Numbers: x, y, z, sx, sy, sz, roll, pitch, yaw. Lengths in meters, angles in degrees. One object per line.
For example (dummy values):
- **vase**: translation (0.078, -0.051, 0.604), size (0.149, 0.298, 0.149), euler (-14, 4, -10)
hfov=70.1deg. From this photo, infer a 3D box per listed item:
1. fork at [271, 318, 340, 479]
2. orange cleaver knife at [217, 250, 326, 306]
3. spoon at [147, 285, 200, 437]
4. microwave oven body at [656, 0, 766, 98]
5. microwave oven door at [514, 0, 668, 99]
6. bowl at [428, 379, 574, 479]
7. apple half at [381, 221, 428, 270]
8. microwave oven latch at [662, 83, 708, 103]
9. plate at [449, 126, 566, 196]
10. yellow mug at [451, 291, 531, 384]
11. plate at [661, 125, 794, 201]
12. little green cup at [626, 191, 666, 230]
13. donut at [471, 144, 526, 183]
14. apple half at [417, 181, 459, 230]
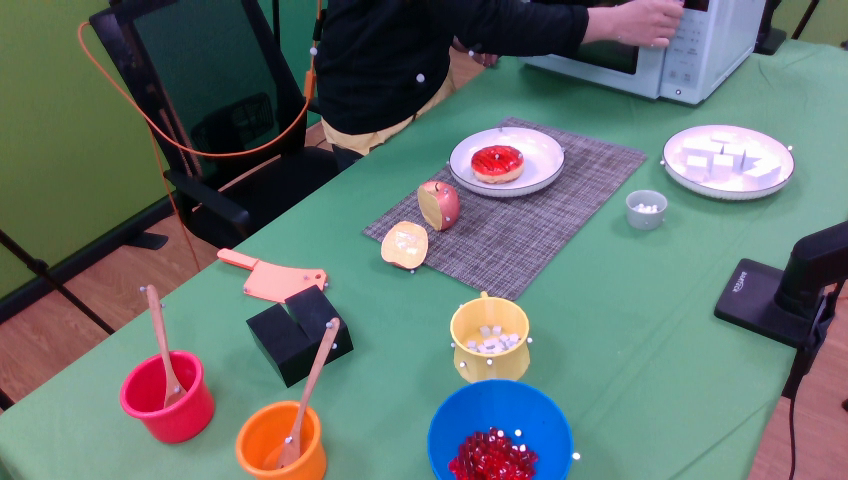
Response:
- **fork**: translation (-0.132, 0.186, 0.676), size (0.028, 0.019, 0.207), euler (17, 90, 28)
- **orange cleaver knife**: translation (-0.248, 0.058, 0.945), size (0.210, 0.012, 0.077), euler (12, 49, 20)
- **spoon**: translation (-0.318, 0.148, 0.754), size (0.042, 0.021, 0.193), euler (-15, 85, -9)
- **microwave oven body**: translation (0.472, -0.513, 1.317), size (0.438, 0.261, 0.327), euler (26, 51, 34)
- **microwave oven door**: translation (0.338, -0.451, 1.255), size (0.353, 0.245, 0.039), euler (28, 53, 35)
- **bowl**: translation (0.083, 0.233, 0.645), size (0.151, 0.077, 0.150), euler (-4, 39, 4)
- **apple half**: translation (-0.024, 0.012, 0.946), size (0.081, 0.033, 0.081), euler (-5, 73, 16)
- **microwave oven latch**: translation (0.518, -0.297, 1.204), size (0.078, 0.029, 0.030), euler (28, 52, 36)
- **plate**: translation (0.150, -0.138, 1.096), size (0.209, 0.038, 0.208), euler (-4, 40, 4)
- **yellow mug**: translation (0.085, 0.120, 0.786), size (0.100, 0.064, 0.130), euler (-7, 39, 1)
- **plate**: translation (0.514, -0.128, 1.035), size (0.207, 0.039, 0.206), euler (-4, 40, 4)
- **little green cup**: translation (0.352, -0.046, 0.963), size (0.061, 0.039, 0.061), euler (-4, 40, 4)
- **donut**: translation (0.133, -0.139, 1.083), size (0.099, 0.048, 0.098), euler (-5, 38, 4)
- **apple half**: translation (0.030, -0.060, 0.995), size (0.053, 0.075, 0.080), euler (-23, 39, -22)
